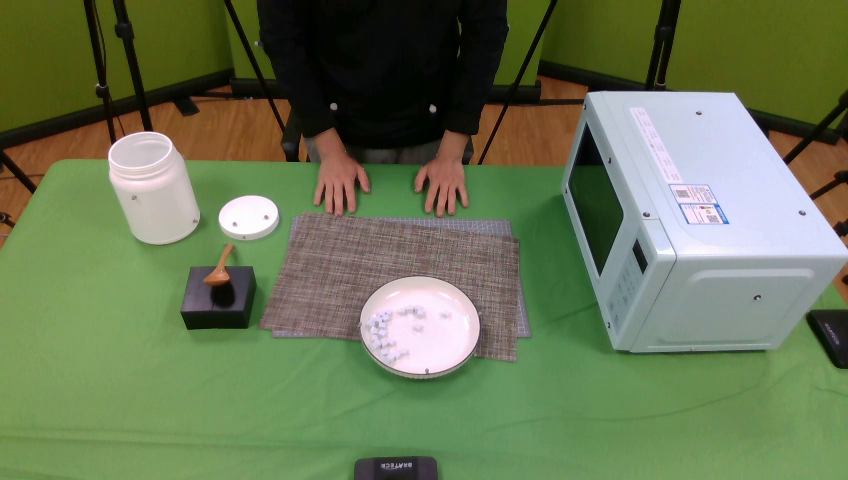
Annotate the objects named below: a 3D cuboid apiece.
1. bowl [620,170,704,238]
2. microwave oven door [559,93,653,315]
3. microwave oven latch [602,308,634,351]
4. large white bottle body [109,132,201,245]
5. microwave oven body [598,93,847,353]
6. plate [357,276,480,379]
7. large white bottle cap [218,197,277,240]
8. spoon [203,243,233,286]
[{"bbox_3d":[0.445,-0.057,1.166,0.151,0.077,0.150,2,46,-2],"label":"bowl"},{"bbox_3d":[0.327,-0.074,1.123,0.039,0.245,0.353,-1,46,-5],"label":"microwave oven door"},{"bbox_3d":[0.332,0.153,1.043,0.030,0.029,0.078,-1,45,-4],"label":"microwave oven latch"},{"bbox_3d":[-0.506,-0.097,1.141,0.131,0.185,0.130,2,46,-2],"label":"large white bottle body"},{"bbox_3d":[0.475,-0.041,1.109,0.326,0.261,0.438,-1,45,-4],"label":"microwave oven body"},{"bbox_3d":[-0.010,0.151,1.038,0.209,0.038,0.208,2,47,-2],"label":"plate"},{"bbox_3d":[-0.354,-0.045,1.220,0.115,0.018,0.114,2,45,-2],"label":"large white bottle cap"},{"bbox_3d":[-0.360,0.039,1.087,0.041,0.022,0.192,-5,24,-7],"label":"spoon"}]
